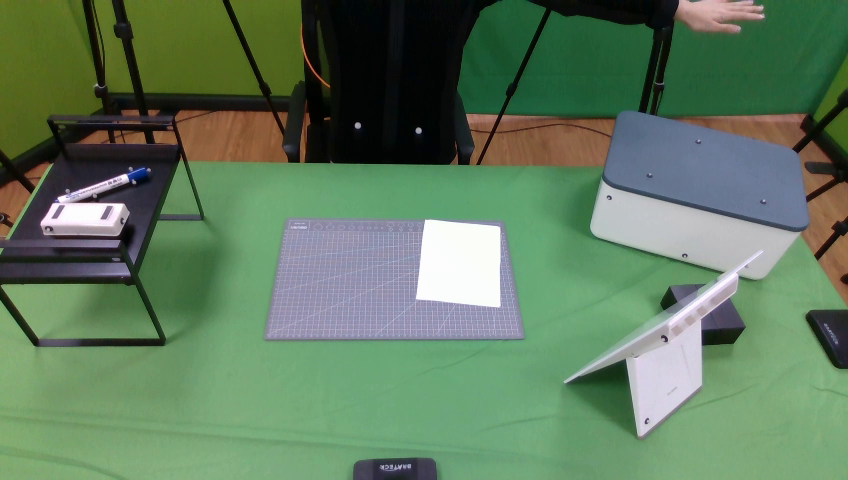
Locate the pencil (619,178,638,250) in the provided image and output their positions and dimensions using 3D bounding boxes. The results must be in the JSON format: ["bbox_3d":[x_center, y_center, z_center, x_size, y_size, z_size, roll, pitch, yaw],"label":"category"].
[{"bbox_3d":[0.431,-0.060,1.285,0.012,0.012,0.193,2,55,-2],"label":"pencil"}]

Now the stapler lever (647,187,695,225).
[{"bbox_3d":[0.516,-0.078,1.266,0.027,0.040,0.117,2,40,-32],"label":"stapler lever"}]

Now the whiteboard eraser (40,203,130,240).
[{"bbox_3d":[-0.513,-0.028,0.922,0.113,0.042,0.055,1,48,-3],"label":"whiteboard eraser"}]

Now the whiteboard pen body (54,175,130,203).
[{"bbox_3d":[-0.530,-0.085,0.994,0.141,0.017,0.017,-26,54,-26],"label":"whiteboard pen body"}]

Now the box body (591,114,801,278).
[{"bbox_3d":[0.540,-0.092,1.230,0.363,0.161,0.253,16,47,11],"label":"box body"}]

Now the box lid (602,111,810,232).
[{"bbox_3d":[0.545,-0.143,1.176,0.371,0.015,0.262,15,47,11],"label":"box lid"}]

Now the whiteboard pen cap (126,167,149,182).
[{"bbox_3d":[-0.482,-0.110,1.019,0.033,0.018,0.018,-28,55,-27],"label":"whiteboard pen cap"}]

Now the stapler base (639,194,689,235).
[{"bbox_3d":[0.510,-0.060,1.278,0.041,0.024,0.129,2,38,-32],"label":"stapler base"}]

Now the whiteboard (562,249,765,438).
[{"bbox_3d":[0.386,0.175,0.905,0.217,0.306,0.143,-26,72,-26],"label":"whiteboard"}]
